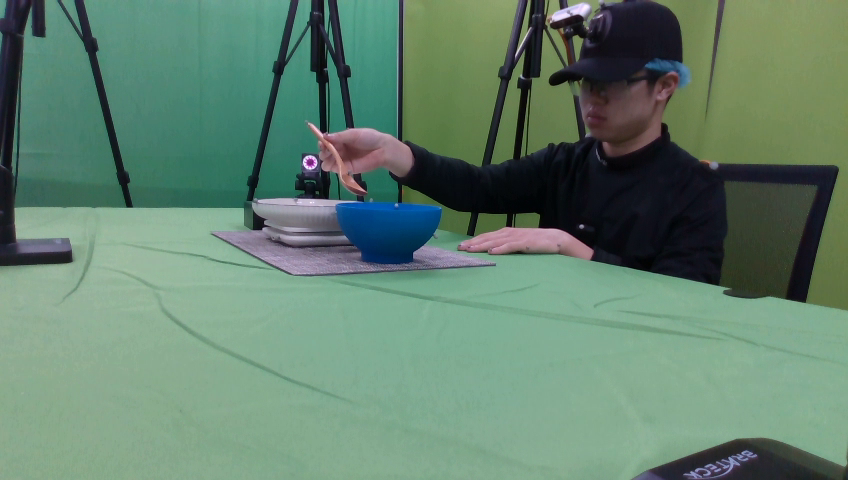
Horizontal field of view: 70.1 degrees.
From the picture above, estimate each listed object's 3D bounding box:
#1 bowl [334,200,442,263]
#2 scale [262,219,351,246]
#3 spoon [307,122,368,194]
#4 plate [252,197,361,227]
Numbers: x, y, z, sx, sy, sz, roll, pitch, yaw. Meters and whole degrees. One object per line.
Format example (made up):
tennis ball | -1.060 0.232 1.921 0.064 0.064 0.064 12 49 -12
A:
bowl | -0.051 -0.012 0.849 0.151 0.077 0.151 2 7 0
scale | -0.160 -0.015 1.027 0.202 0.031 0.148 -2 8 -32
spoon | -0.141 -0.132 0.957 0.042 0.021 0.193 15 34 -49
plate | -0.178 -0.047 1.012 0.209 0.038 0.209 2 6 0
